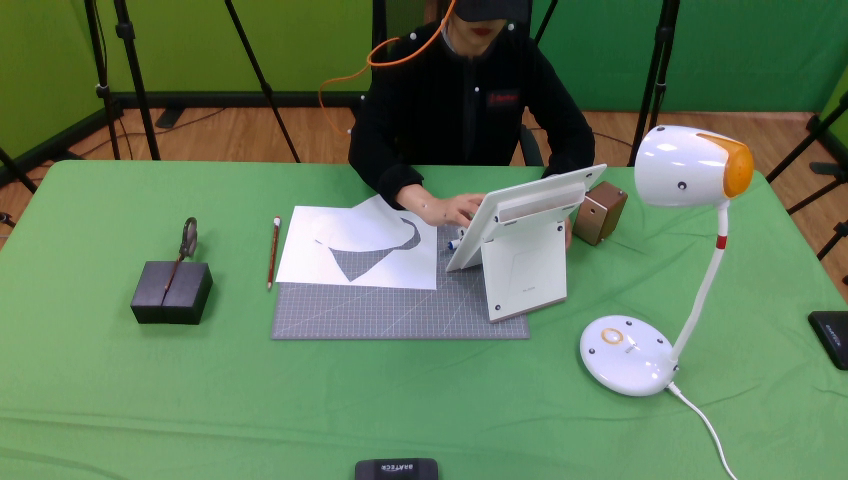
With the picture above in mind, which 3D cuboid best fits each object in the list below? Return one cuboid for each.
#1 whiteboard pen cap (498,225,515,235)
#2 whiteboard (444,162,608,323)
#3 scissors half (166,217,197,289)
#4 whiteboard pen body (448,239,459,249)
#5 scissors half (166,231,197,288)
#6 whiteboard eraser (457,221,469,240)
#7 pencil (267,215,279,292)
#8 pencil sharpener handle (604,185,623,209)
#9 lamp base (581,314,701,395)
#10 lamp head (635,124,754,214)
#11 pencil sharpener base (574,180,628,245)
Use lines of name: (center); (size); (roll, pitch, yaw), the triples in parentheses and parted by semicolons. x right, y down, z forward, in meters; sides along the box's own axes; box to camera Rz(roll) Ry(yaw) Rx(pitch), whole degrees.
whiteboard pen cap: (0.166, -0.019, 1.222); (0.033, 0.018, 0.018); (-15, 49, -18)
whiteboard: (0.186, 0.025, 1.029); (0.217, 0.306, 0.143); (-14, 68, -18)
scissors half: (-0.436, 0.020, 1.086); (0.013, 0.040, 0.174); (7, 47, -7)
whiteboard pen body: (0.112, -0.006, 1.204); (0.141, 0.017, 0.017); (-14, 49, -18)
scissors half: (-0.440, 0.036, 1.098); (0.013, 0.040, 0.174); (11, 28, -10)
whiteboard eraser: (0.120, -0.022, 1.091); (0.113, 0.055, 0.041); (-14, 78, -19)
pencil: (-0.291, 0.023, 1.164); (0.012, 0.012, 0.192); (-2, 48, -6)
pencil sharpener handle: (0.390, -0.091, 1.235); (0.030, 0.068, 0.036); (-34, 69, -31)
lamp base: (0.361, 0.145, 0.973); (0.178, 0.181, 0.160); (34, 53, 23)
lamp head: (0.351, -0.089, 0.776); (0.112, 0.113, 0.122); (-30, 30, -28)
pencil sharpener base: (0.356, -0.056, 1.217); (0.076, 0.107, 0.061); (-33, 56, -31)
